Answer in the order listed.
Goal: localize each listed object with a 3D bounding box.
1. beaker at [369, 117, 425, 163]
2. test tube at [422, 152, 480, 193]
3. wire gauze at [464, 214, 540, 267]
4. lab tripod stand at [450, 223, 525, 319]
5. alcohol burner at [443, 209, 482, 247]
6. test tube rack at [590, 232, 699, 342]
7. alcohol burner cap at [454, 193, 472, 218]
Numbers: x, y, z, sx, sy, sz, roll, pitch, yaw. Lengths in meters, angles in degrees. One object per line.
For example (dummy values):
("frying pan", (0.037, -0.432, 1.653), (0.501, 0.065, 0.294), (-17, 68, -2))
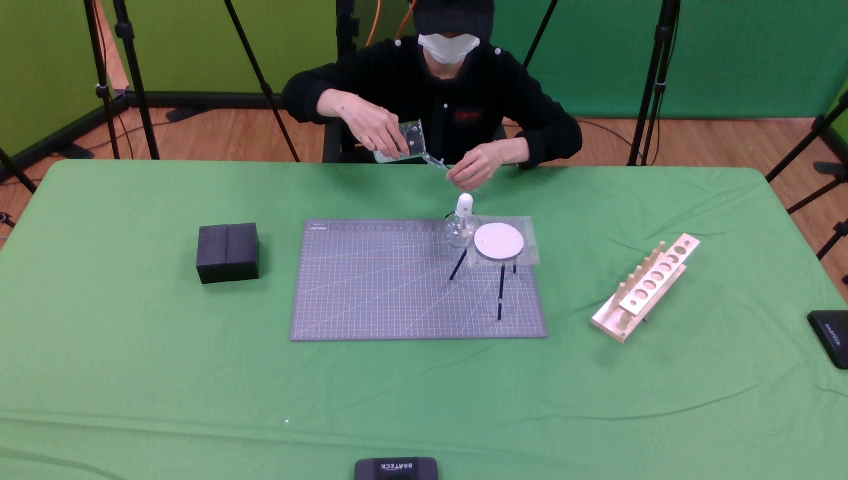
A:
("beaker", (-0.051, -0.189, 1.174), (0.100, 0.084, 0.073), (-9, 39, 3))
("test tube", (0.057, -0.135, 1.229), (0.151, 0.017, 0.017), (30, 39, -27))
("wire gauze", (0.131, -0.002, 1.034), (0.121, 0.011, 0.124), (1, 45, -2))
("lab tripod stand", (0.120, 0.046, 1.080), (0.148, 0.132, 0.147), (1, 47, -1))
("alcohol burner", (0.075, -0.044, 1.177), (0.078, 0.120, 0.077), (1, 44, -1))
("test tube rack", (0.407, 0.074, 1.112), (0.066, 0.085, 0.242), (35, 53, 26))
("alcohol burner cap", (0.076, -0.068, 1.151), (0.034, 0.048, 0.033), (4, 46, -4))
